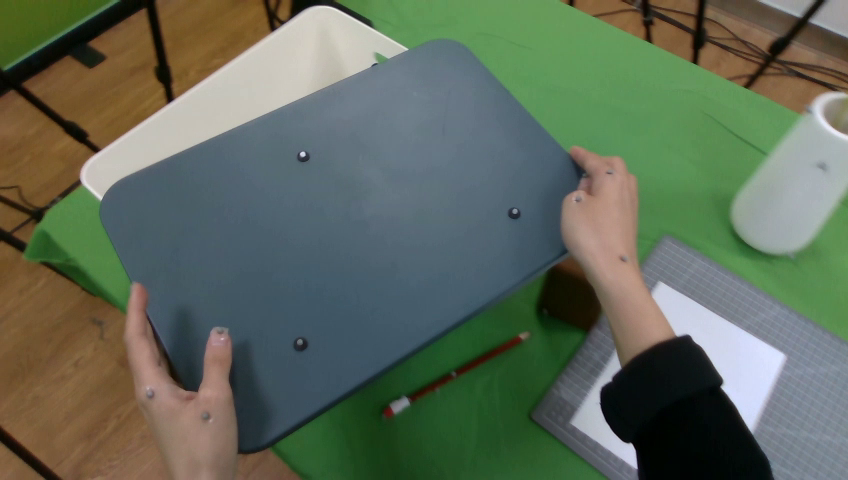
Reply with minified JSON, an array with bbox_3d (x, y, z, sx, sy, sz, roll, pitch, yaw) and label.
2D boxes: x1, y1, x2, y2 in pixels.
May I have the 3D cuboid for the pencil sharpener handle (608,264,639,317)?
[{"bbox_3d":[0.218,0.057,0.646,0.030,0.068,0.036,23,53,14],"label":"pencil sharpener handle"}]

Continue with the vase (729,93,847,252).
[{"bbox_3d":[0.429,-0.071,0.688,0.098,0.202,0.097,0,56,1],"label":"vase"}]

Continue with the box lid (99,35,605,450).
[{"bbox_3d":[-0.055,-0.029,0.515,0.371,0.015,0.261,-31,68,-16],"label":"box lid"}]

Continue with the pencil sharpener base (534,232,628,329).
[{"bbox_3d":[0.174,0.042,0.669,0.076,0.108,0.061,23,60,14],"label":"pencil sharpener base"}]

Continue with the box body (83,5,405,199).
[{"bbox_3d":[-0.144,-0.076,0.710,0.252,0.162,0.363,35,64,20],"label":"box body"}]

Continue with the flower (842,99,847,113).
[{"bbox_3d":[0.431,-0.128,0.625,0.044,0.364,0.038,28,44,20],"label":"flower"}]

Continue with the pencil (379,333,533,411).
[{"bbox_3d":[0.039,0.142,0.666,0.194,0.012,0.012,-22,60,-17],"label":"pencil"}]
